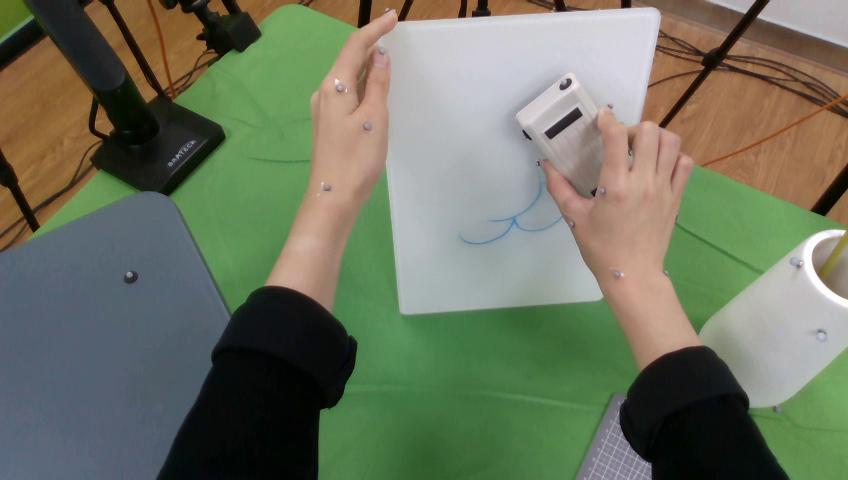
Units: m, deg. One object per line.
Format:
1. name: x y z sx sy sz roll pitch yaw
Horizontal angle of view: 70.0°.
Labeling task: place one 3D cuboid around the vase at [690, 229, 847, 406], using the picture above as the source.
1. vase: 0.306 0.070 0.522 0.098 0.201 0.097 0 57 1

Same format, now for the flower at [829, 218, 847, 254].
1. flower: 0.306 0.014 0.459 0.044 0.365 0.038 20 43 17

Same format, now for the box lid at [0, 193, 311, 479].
1. box lid: -0.243 0.139 0.414 0.263 0.015 0.368 -28 63 -16

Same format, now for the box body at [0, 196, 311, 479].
1. box body: -0.241 0.180 0.477 0.254 0.162 0.360 -28 63 -16

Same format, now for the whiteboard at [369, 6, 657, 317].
1. whiteboard: 0.069 -0.088 0.593 0.217 0.308 0.142 -3 39 -1

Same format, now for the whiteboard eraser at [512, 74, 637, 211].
1. whiteboard eraser: 0.124 -0.078 0.496 0.055 0.114 0.041 -34 34 20
